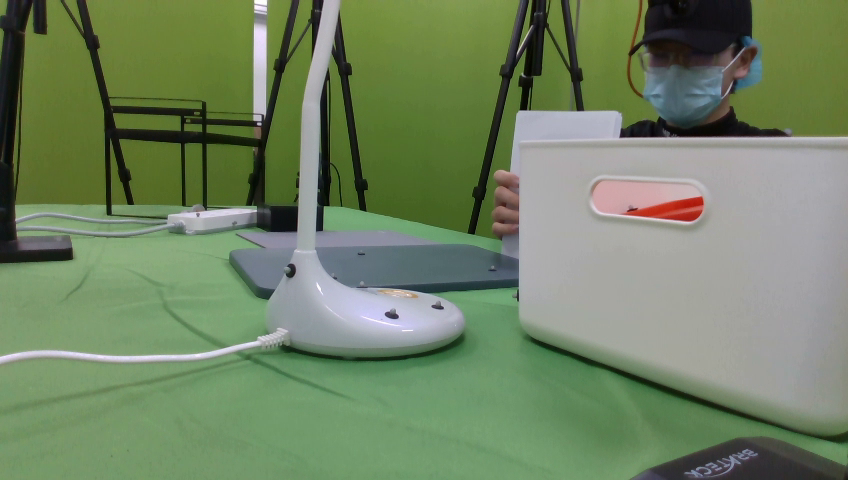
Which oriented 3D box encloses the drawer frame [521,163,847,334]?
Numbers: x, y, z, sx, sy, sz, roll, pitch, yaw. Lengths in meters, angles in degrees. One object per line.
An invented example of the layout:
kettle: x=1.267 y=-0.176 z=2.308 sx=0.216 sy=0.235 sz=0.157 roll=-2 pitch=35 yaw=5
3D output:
drawer frame: x=0.224 y=0.003 z=0.465 sx=0.215 sy=0.082 sz=0.200 roll=-14 pitch=2 yaw=-36

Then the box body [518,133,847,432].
box body: x=0.278 y=0.005 z=0.486 sx=0.366 sy=0.160 sz=0.253 roll=-3 pitch=9 yaw=-36

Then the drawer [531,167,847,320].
drawer: x=0.225 y=0.003 z=0.468 sx=0.213 sy=0.073 sz=0.193 roll=-14 pitch=2 yaw=-36

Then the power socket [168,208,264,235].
power socket: x=-0.381 y=-0.038 z=1.129 sx=0.072 sy=0.032 sz=0.227 roll=4 pitch=8 yaw=17

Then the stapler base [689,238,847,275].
stapler base: x=0.270 y=0.013 z=0.488 sx=0.041 sy=0.024 sz=0.130 roll=-15 pitch=3 yaw=-19

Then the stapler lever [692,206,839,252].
stapler lever: x=0.266 y=-0.011 z=0.486 sx=0.027 sy=0.040 sz=0.117 roll=-15 pitch=2 yaw=-19

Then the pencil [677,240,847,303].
pencil: x=0.248 y=0.018 z=0.464 sx=0.012 sy=0.012 sz=0.193 roll=1 pitch=10 yaw=-9

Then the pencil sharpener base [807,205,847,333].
pencil sharpener base: x=0.385 y=0.026 z=0.519 sx=0.062 sy=0.107 sz=0.076 roll=-5 pitch=11 yaw=-43

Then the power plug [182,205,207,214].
power plug: x=-0.456 y=-0.041 z=1.195 sx=0.052 sy=0.035 sz=0.072 roll=0 pitch=40 yaw=24

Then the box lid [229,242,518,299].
box lid: x=-0.041 y=0.032 z=0.765 sx=0.373 sy=0.015 sz=0.262 roll=-2 pitch=9 yaw=-25

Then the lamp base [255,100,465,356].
lamp base: x=-0.051 y=-0.014 z=0.466 sx=0.160 sy=0.180 sz=0.180 roll=7 pitch=11 yaw=34
